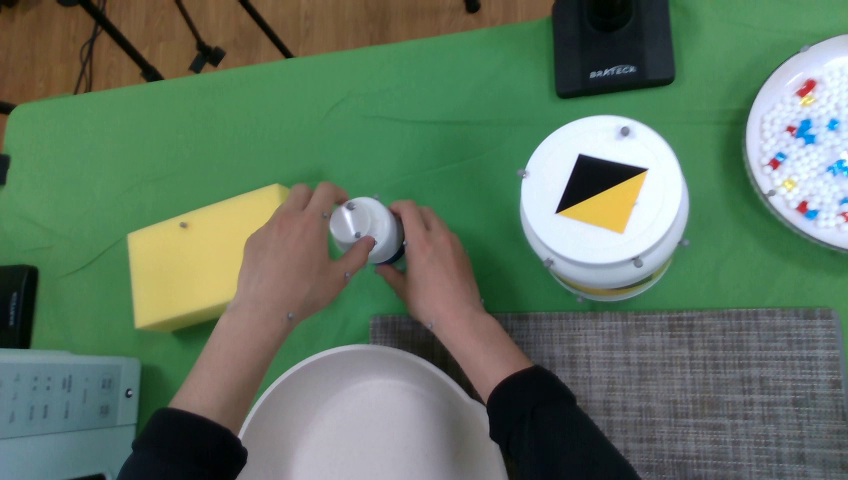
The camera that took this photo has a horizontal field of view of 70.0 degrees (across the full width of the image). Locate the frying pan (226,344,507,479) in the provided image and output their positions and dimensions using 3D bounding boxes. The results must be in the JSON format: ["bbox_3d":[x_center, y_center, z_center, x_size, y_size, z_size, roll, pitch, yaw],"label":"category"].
[{"bbox_3d":[-0.011,0.332,0.554,0.307,0.103,0.483,-33,63,10],"label":"frying pan"}]

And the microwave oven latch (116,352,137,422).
[{"bbox_3d":[-0.359,0.172,0.714,0.030,0.030,0.079,-3,79,17],"label":"microwave oven latch"}]

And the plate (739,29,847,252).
[{"bbox_3d":[0.396,-0.088,0.545,0.208,0.038,0.208,-4,79,18],"label":"plate"}]

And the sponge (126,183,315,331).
[{"bbox_3d":[-0.241,0.025,0.713,0.206,0.061,0.117,-17,75,13],"label":"sponge"}]

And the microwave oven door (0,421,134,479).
[{"bbox_3d":[-0.396,0.367,0.579,0.039,0.245,0.354,-3,78,18],"label":"microwave oven door"}]

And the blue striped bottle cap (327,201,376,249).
[{"bbox_3d":[-0.070,-0.015,0.579,0.044,0.021,0.044,-5,73,18],"label":"blue striped bottle cap"}]

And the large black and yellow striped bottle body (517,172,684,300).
[{"bbox_3d":[0.154,-0.020,0.531,0.130,0.185,0.130,-4,78,17],"label":"large black and yellow striped bottle body"}]

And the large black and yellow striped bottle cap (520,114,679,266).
[{"bbox_3d":[0.129,-0.038,0.453,0.114,0.019,0.114,-3,80,17],"label":"large black and yellow striped bottle cap"}]

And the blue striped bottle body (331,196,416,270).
[{"bbox_3d":[-0.055,-0.007,0.628,0.063,0.121,0.063,-3,79,16],"label":"blue striped bottle body"}]

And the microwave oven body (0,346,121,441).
[{"bbox_3d":[-0.533,0.334,0.635,0.325,0.262,0.440,-3,79,17],"label":"microwave oven body"}]
